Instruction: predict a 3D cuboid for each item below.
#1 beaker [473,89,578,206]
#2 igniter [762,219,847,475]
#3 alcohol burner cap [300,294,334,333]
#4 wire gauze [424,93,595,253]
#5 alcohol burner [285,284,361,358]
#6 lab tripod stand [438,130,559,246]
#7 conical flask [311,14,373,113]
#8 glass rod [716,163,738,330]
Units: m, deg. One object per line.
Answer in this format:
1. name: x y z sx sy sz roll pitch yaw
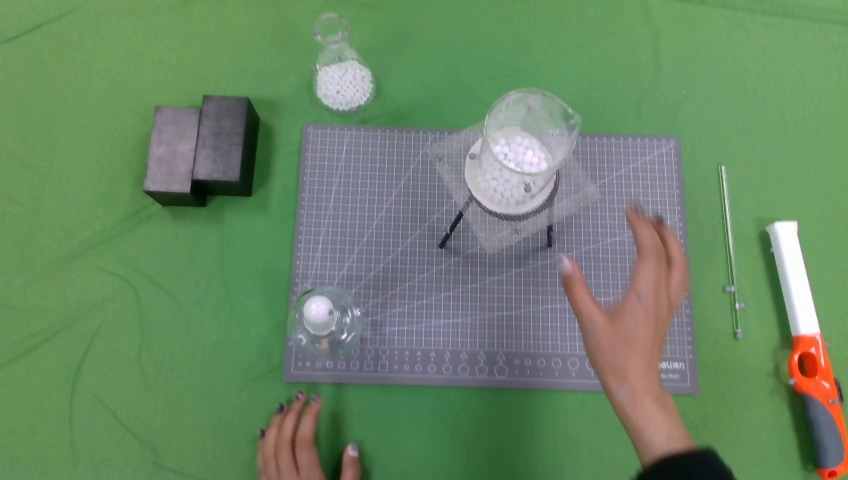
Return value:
1. beaker: 0.083 -0.076 0.527 0.084 0.100 0.073 -19 78 -6
2. igniter: 0.417 0.111 0.664 0.057 0.025 0.275 -2 76 -13
3. alcohol burner cap: -0.102 0.068 0.577 0.034 0.048 0.033 3 68 -7
4. wire gauze: 0.082 -0.065 0.574 0.125 0.011 0.121 -27 82 -9
5. alcohol burner: -0.104 0.079 0.612 0.078 0.119 0.077 1 74 -3
6. lab tripod stand: 0.080 -0.044 0.637 0.148 0.132 0.147 0 78 -1
7. conical flask: -0.098 -0.201 0.679 0.075 0.122 0.075 0 75 -1
8. glass rod: 0.350 0.004 0.699 0.008 0.008 0.198 2 76 -1
